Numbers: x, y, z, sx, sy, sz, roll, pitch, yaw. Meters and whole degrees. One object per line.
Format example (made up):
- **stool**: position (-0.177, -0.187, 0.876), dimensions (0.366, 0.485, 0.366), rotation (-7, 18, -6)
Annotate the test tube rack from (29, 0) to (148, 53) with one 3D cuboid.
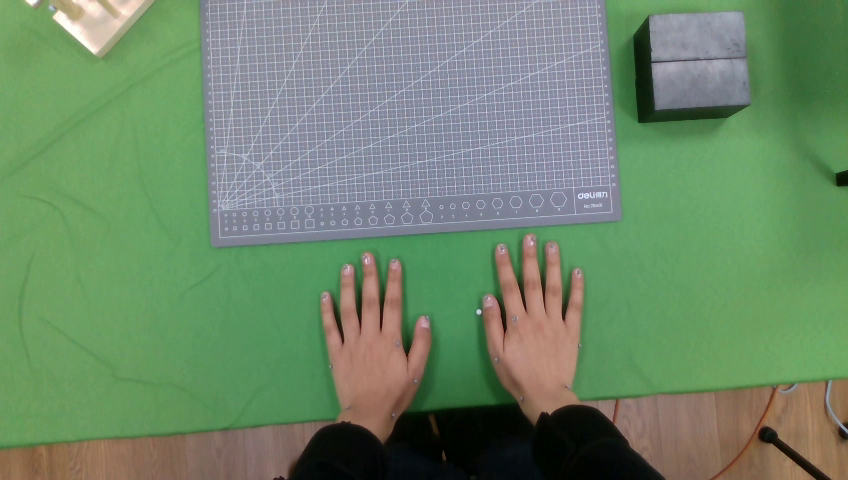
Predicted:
- **test tube rack**: position (-0.307, -0.322, 0.637), dimensions (0.066, 0.085, 0.242), rotation (41, 87, 3)
